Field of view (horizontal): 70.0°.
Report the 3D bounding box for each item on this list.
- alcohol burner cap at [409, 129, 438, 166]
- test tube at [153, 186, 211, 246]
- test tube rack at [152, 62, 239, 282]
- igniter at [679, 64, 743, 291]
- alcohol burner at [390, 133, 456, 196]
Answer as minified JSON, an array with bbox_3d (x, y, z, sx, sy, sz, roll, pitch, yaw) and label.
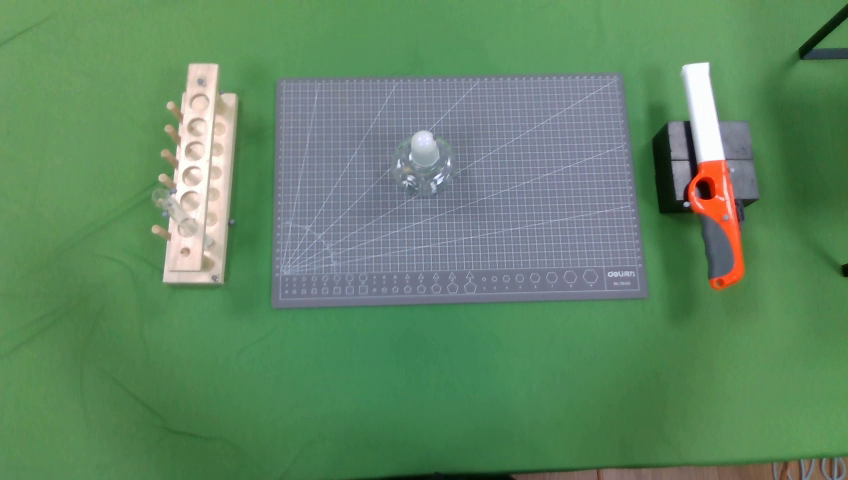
[{"bbox_3d":[-0.001,-0.104,0.667,0.034,0.048,0.033,0,75,1],"label":"alcohol burner cap"},{"bbox_3d":[-0.253,-0.022,0.642,0.017,0.151,0.017,1,72,-3],"label":"test tube"},{"bbox_3d":[-0.269,-0.077,0.705,0.067,0.085,0.241,1,77,-1],"label":"test tube rack"},{"bbox_3d":[0.333,-0.078,0.708,0.057,0.025,0.275,-4,76,9],"label":"igniter"},{"bbox_3d":[-0.001,-0.095,0.702,0.078,0.119,0.077,0,78,-1],"label":"alcohol burner"}]
